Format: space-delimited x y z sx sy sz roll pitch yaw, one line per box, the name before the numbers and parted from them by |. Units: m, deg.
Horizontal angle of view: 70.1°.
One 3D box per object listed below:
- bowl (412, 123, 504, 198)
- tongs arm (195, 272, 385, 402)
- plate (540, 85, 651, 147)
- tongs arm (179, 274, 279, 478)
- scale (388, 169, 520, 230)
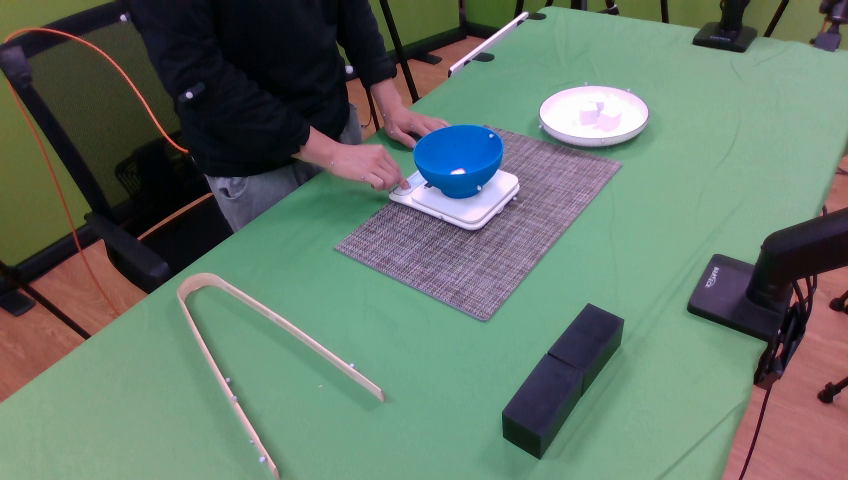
bowl | 0.060 -0.123 1.007 0.151 0.077 0.150 -5 41 5
tongs arm | -0.198 0.125 0.847 0.384 0.028 0.028 25 52 32
plate | 0.333 -0.238 1.186 0.207 0.039 0.206 -4 41 4
tongs arm | -0.260 0.161 0.807 0.051 0.026 0.381 -28 44 -25
scale | 0.050 -0.090 1.052 0.199 0.032 0.149 24 49 31
